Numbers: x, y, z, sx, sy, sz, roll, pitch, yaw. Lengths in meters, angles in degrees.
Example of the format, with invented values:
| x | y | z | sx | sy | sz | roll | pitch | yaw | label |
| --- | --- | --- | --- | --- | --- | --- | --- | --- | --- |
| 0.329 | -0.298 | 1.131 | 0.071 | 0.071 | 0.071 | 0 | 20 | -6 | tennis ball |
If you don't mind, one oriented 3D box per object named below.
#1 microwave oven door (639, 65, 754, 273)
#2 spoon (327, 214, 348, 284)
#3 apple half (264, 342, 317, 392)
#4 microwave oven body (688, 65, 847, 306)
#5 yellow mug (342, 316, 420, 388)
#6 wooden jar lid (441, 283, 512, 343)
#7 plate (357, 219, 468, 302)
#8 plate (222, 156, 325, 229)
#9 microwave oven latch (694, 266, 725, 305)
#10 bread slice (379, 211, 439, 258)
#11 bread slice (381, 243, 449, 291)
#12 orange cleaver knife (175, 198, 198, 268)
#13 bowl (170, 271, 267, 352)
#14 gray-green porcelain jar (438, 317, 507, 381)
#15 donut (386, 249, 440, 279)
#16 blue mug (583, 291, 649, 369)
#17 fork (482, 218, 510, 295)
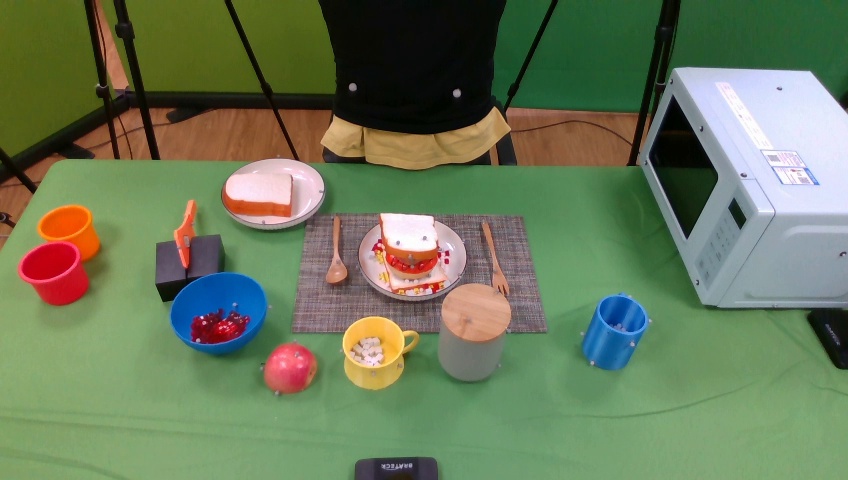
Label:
| x | y | z | sx | sy | sz | roll | pitch | yaw | label |
| --- | --- | --- | --- | --- | --- | --- | --- | --- | --- |
| 0.522 | -0.147 | 1.193 | 0.039 | 0.245 | 0.353 | 0 | 47 | -3 | microwave oven door |
| -0.167 | 0.013 | 1.164 | 0.041 | 0.022 | 0.192 | -19 | 47 | 11 | spoon |
| -0.214 | 0.198 | 0.970 | 0.074 | 0.053 | 0.080 | 19 | 48 | 11 | apple half |
| 0.669 | -0.111 | 1.176 | 0.326 | 0.261 | 0.439 | 0 | 46 | -3 | microwave oven body |
| -0.067 | 0.177 | 0.991 | 0.131 | 0.064 | 0.099 | -16 | 50 | -19 | yellow mug |
| 0.080 | 0.114 | 0.931 | 0.108 | 0.021 | 0.107 | 1 | 49 | -1 | wooden jar lid |
| -0.021 | 0.037 | 1.141 | 0.208 | 0.039 | 0.206 | 2 | 46 | -2 | plate |
| -0.308 | -0.095 | 1.251 | 0.209 | 0.038 | 0.208 | 2 | 47 | -2 | plate |
| 0.523 | 0.082 | 1.115 | 0.030 | 0.029 | 0.078 | 3 | 46 | 0 | microwave oven latch |
| -0.024 | -0.012 | 1.064 | 0.105 | 0.019 | 0.130 | 3 | 33 | -10 | bread slice |
| -0.026 | 0.039 | 1.139 | 0.107 | 0.018 | 0.133 | -12 | 46 | -16 | bread slice |
| -0.438 | -0.017 | 1.138 | 0.012 | 0.077 | 0.210 | -13 | 27 | -7 | orange cleaver knife |
| -0.332 | 0.132 | 1.006 | 0.151 | 0.077 | 0.150 | 2 | 46 | -2 | bowl |
| 0.076 | 0.158 | 0.977 | 0.106 | 0.127 | 0.105 | 2 | 47 | -2 | gray-green porcelain jar |
| -0.021 | 0.029 | 1.110 | 0.099 | 0.048 | 0.098 | 2 | 46 | -2 | donut |
| 0.324 | 0.142 | 1.023 | 0.082 | 0.106 | 0.116 | 15 | 47 | 11 | blue mug |
| 0.136 | 0.029 | 1.172 | 0.028 | 0.019 | 0.206 | -10 | 48 | 1 | fork |
